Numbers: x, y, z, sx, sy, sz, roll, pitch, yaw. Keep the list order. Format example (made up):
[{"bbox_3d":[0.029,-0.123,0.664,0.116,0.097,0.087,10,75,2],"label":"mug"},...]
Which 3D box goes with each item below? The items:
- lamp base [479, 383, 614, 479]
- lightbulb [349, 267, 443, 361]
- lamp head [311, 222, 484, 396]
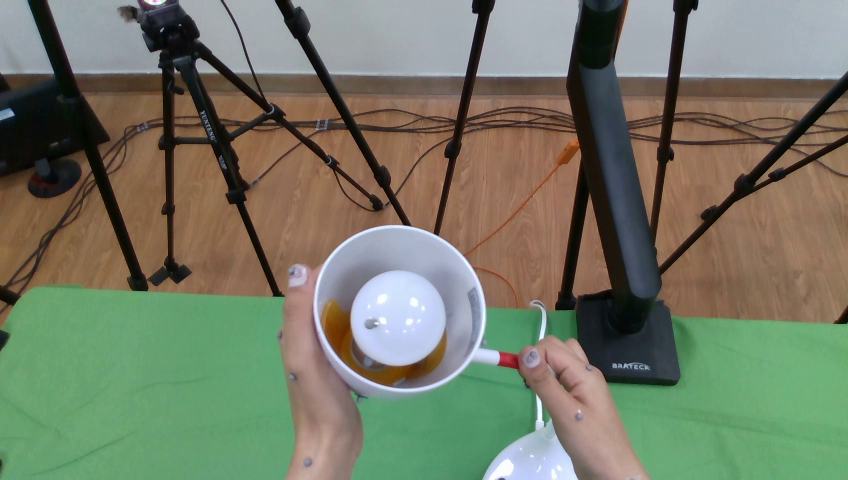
[{"bbox_3d":[0.135,0.236,0.615,0.161,0.182,0.177,-7,51,-4],"label":"lamp base"},{"bbox_3d":[-0.024,0.055,0.406,0.060,0.108,0.059,5,71,-14],"label":"lightbulb"},{"bbox_3d":[-0.023,0.062,0.430,0.112,0.123,0.111,4,64,-7],"label":"lamp head"}]
